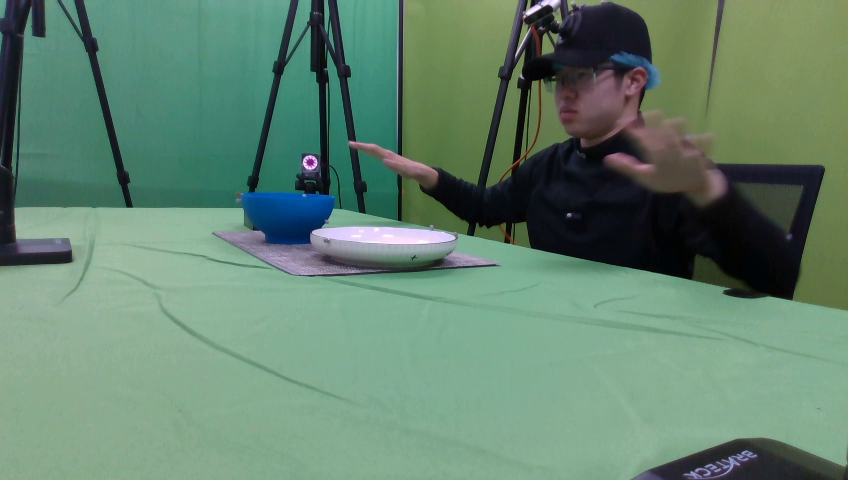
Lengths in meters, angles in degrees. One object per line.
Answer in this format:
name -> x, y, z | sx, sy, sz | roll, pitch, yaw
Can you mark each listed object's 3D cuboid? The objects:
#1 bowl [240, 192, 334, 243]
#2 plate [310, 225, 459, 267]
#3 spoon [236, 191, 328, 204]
bowl -> -0.223, -0.037, 0.992 | 0.151, 0.077, 0.151 | 2, 7, 0
plate -> -0.055, 0.008, 0.851 | 0.208, 0.039, 0.207 | 2, 7, 0
spoon -> -0.283, -0.085, 1.222 | 0.195, 0.021, 0.041 | -1, 8, -34
